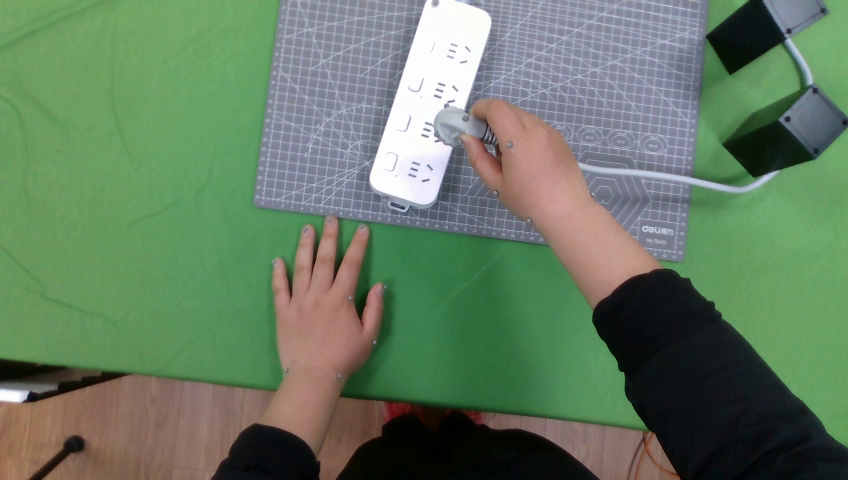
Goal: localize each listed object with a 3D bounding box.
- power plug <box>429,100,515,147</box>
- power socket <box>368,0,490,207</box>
[{"bbox_3d":[0.037,-0.095,0.545,0.073,0.052,0.035,40,75,-19],"label":"power plug"},{"bbox_3d":[0.005,-0.144,0.615,0.072,0.032,0.226,18,87,-2],"label":"power socket"}]
